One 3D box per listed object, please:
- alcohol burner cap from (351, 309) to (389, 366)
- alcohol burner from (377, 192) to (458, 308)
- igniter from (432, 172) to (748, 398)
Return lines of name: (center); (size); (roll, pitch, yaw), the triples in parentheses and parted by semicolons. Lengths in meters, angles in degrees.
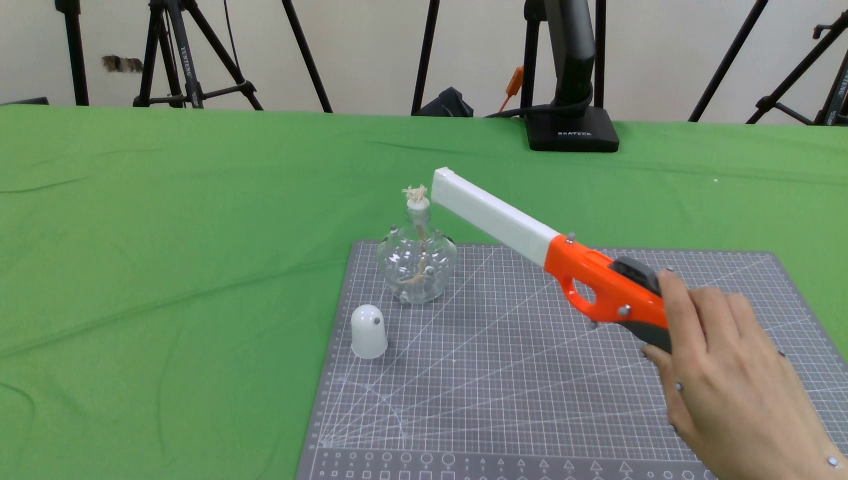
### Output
alcohol burner cap: (-0.047, 0.080, 0.521); (0.034, 0.048, 0.033); (1, 37, 0)
alcohol burner: (-0.006, 0.005, 0.563); (0.078, 0.120, 0.077); (1, 38, -1)
igniter: (0.103, 0.020, 0.440); (0.025, 0.057, 0.273); (-22, 43, -36)
